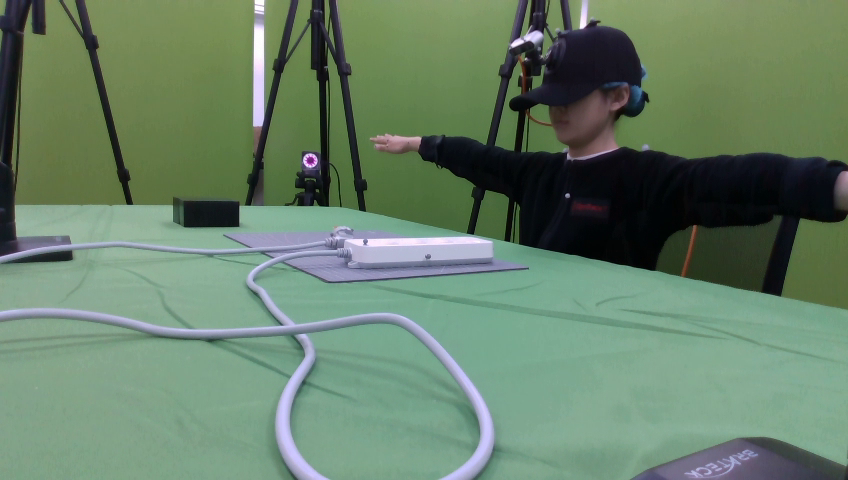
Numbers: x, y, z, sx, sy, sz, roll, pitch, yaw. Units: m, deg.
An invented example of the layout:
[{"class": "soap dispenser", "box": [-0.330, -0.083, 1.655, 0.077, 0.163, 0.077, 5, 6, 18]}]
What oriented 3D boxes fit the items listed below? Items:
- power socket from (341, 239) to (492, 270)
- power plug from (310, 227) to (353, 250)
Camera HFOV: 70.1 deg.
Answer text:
[{"class": "power socket", "box": [-0.007, 0.018, 0.831, 0.228, 0.032, 0.072, -1, 7, -29]}, {"class": "power plug", "box": [-0.141, -0.008, 0.918, 0.073, 0.035, 0.052, 21, 12, -36]}]
